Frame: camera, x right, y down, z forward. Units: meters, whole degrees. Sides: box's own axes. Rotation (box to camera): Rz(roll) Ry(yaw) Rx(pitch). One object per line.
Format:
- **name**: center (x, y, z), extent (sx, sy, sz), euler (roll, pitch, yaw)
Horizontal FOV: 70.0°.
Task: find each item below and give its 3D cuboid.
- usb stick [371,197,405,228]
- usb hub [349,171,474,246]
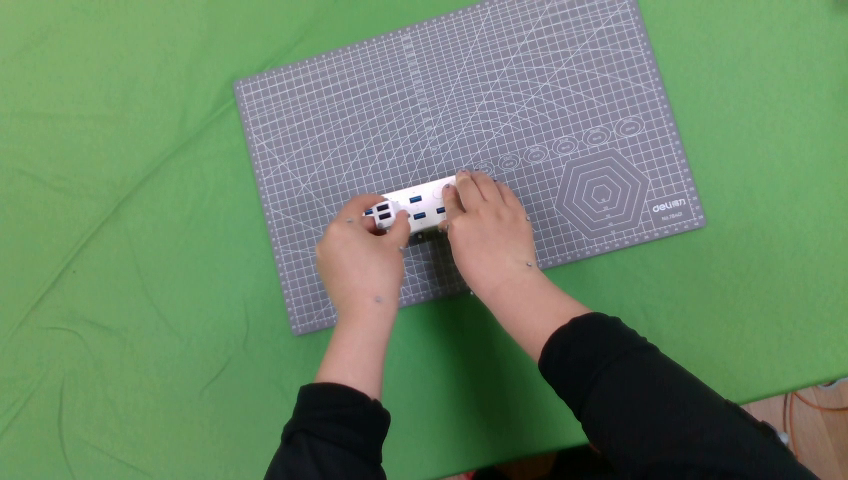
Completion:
- **usb stick**: center (-0.035, -0.027, 0.616), extent (0.021, 0.059, 0.027), euler (-18, 83, 9)
- **usb hub**: center (-0.014, -0.034, 0.643), extent (0.125, 0.025, 0.049), euler (-14, 83, 5)
